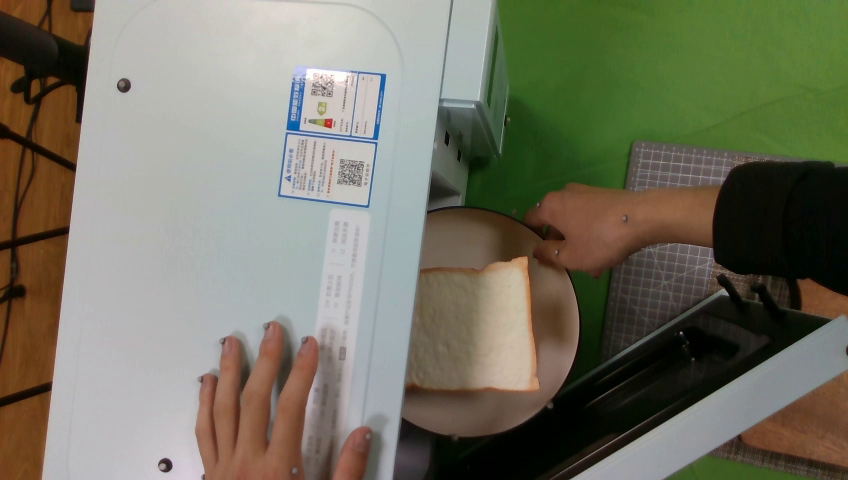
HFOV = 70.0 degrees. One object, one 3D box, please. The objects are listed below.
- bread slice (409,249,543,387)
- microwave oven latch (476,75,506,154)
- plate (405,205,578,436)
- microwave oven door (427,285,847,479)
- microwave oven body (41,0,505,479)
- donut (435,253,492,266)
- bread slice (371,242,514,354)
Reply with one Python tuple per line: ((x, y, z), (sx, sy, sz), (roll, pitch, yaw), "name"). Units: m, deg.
((0.026, 0.071, 0.495), (0.134, 0.018, 0.107), (-12, 93, 19), "bread slice")
((0.067, -0.129, 0.618), (0.030, 0.029, 0.079), (6, 91, 10), "microwave oven latch")
((0.034, 0.072, 0.558), (0.207, 0.039, 0.207), (0, 91, 7), "plate")
((0.138, 0.158, 0.501), (0.356, 0.244, 0.039), (-36, 83, 8), "microwave oven door")
((-0.116, 0.028, 0.551), (0.325, 0.260, 0.441), (7, 91, 9), "microwave oven body")
((0.042, 0.057, 0.541), (0.099, 0.048, 0.099), (0, 111, 1), "donut")
((0.015, 0.055, 0.582), (0.132, 0.019, 0.105), (7, 102, -5), "bread slice")
